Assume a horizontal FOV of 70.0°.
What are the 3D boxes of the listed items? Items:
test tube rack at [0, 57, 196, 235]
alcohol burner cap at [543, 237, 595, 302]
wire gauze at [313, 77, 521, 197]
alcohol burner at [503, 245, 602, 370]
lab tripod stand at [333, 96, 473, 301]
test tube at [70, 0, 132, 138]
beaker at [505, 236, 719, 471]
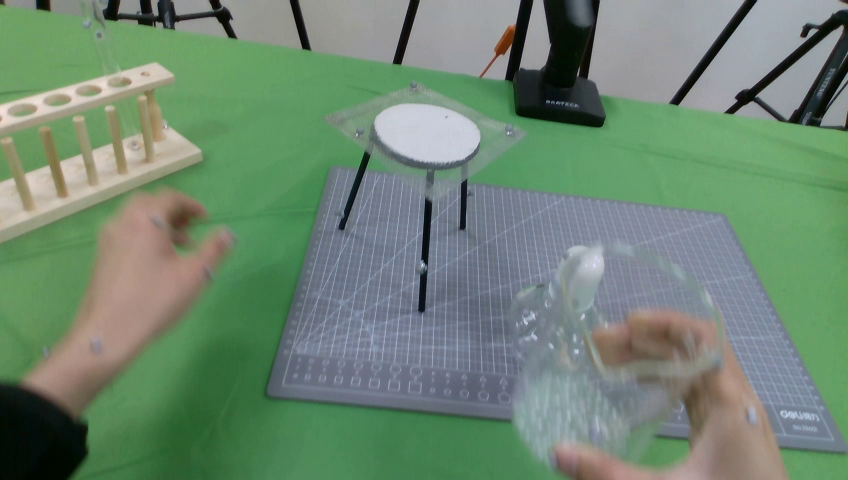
[{"bbox_3d":[-0.337,-0.083,0.548,0.066,0.086,0.242,34,47,25],"label":"test tube rack"},{"bbox_3d":[0.108,0.019,0.442,0.034,0.048,0.033,3,46,-3],"label":"alcohol burner cap"},{"bbox_3d":[-0.004,-0.092,0.482,0.124,0.011,0.121,35,48,24],"label":"wire gauze"},{"bbox_3d":[0.103,0.045,0.467,0.078,0.120,0.077,7,41,-6],"label":"alcohol burner"},{"bbox_3d":[-0.010,-0.042,0.527,0.149,0.132,0.147,7,42,-6],"label":"lab tripod stand"},{"bbox_3d":[-0.300,-0.160,0.566,0.017,0.151,0.017,3,44,-2],"label":"test tube"},{"bbox_3d":[0.084,0.061,0.297,0.073,0.101,0.084,28,42,16],"label":"beaker"}]
